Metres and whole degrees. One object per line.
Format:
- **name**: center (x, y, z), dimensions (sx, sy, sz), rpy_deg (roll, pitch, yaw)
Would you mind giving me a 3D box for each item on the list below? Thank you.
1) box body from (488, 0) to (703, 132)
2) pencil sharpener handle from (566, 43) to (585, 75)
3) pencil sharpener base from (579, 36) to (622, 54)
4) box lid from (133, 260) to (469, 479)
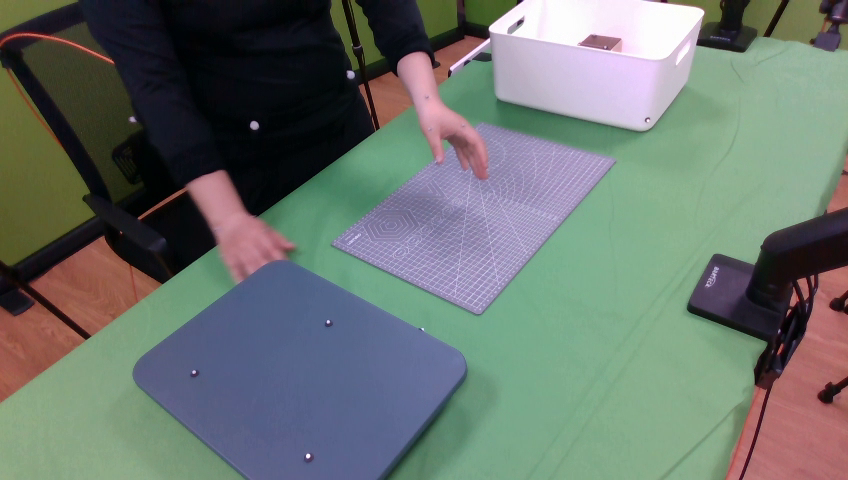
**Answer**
- **box body**: center (0.346, -0.374, 1.251), dimensions (0.361, 0.161, 0.255), rpy_deg (21, 48, 29)
- **pencil sharpener handle**: center (0.319, -0.386, 1.283), dimensions (0.030, 0.068, 0.036), rpy_deg (20, 40, 30)
- **pencil sharpener base**: center (0.364, -0.363, 1.267), dimensions (0.076, 0.107, 0.061), rpy_deg (20, 48, 30)
- **box lid**: center (-0.156, 0.160, 0.747), dimensions (0.368, 0.015, 0.264), rpy_deg (23, 49, 31)
